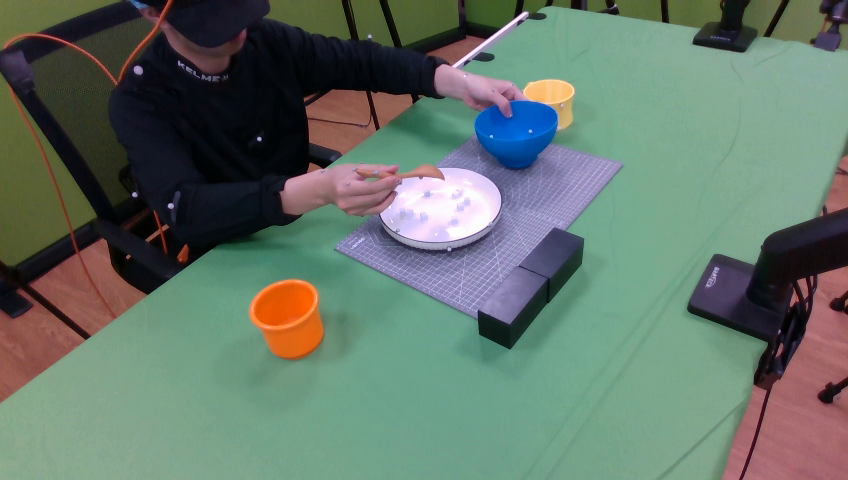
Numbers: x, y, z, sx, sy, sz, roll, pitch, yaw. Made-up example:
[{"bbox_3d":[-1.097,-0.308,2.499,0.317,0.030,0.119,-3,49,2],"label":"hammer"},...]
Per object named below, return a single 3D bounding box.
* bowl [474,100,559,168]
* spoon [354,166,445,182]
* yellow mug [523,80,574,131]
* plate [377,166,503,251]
[{"bbox_3d":[0.168,-0.184,1.093,0.151,0.077,0.150,-6,38,5],"label":"bowl"},{"bbox_3d":[-0.032,-0.098,0.912,0.195,0.021,0.041,-9,45,-49],"label":"spoon"},{"bbox_3d":[0.242,-0.278,1.224,0.100,0.064,0.129,-24,42,-17],"label":"yellow mug"},{"bbox_3d":[0.027,-0.050,1.007,0.209,0.038,0.208,-4,41,4],"label":"plate"}]
